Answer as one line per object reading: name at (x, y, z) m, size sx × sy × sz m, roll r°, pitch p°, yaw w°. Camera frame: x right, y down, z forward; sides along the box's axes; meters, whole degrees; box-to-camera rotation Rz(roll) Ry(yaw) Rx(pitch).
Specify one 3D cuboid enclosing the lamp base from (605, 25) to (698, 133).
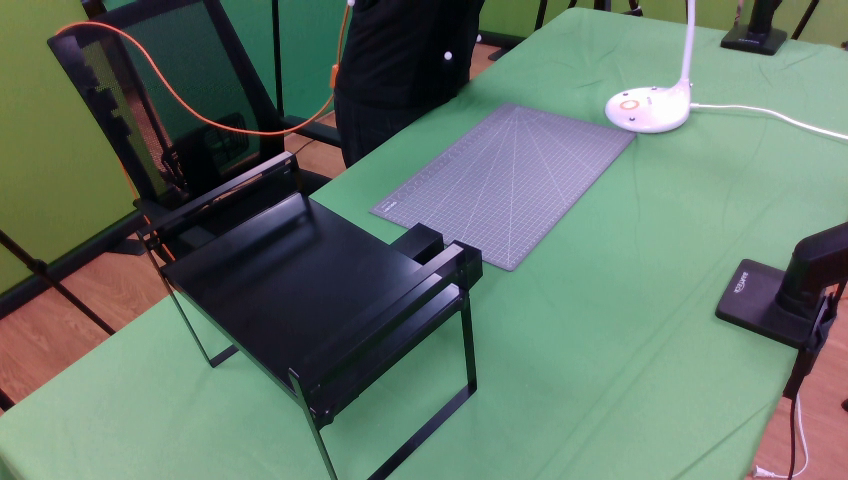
lamp base at (0.449, -0.321, 1.161) m, size 0.179 × 0.181 × 0.159 m, roll -6°, pitch 41°, yaw -2°
